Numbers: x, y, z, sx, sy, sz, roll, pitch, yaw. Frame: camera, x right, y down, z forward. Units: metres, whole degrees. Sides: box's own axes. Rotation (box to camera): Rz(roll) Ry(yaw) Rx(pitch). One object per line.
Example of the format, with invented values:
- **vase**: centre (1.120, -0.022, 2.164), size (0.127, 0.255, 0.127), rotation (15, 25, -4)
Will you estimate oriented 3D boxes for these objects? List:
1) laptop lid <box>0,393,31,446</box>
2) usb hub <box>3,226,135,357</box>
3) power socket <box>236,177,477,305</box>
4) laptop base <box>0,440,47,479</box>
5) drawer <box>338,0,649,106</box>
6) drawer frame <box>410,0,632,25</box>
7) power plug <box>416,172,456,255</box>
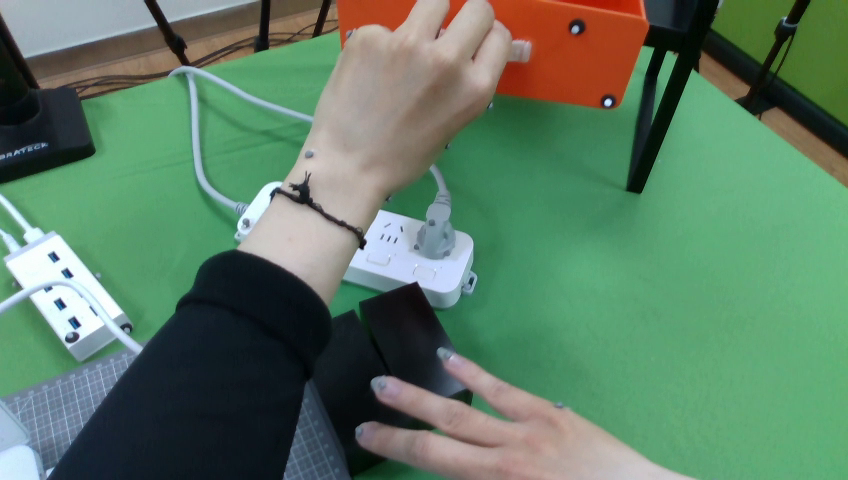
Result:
- **laptop lid**: centre (-0.441, 0.118, 0.302), size (0.357, 0.244, 0.013), rotation (-25, 43, -18)
- **usb hub**: centre (-0.302, 0.041, 0.512), size (0.124, 0.025, 0.049), rotation (38, 60, 25)
- **power socket**: centre (-0.061, -0.001, 0.549), size (0.226, 0.033, 0.072), rotation (16, 52, 11)
- **laptop base**: centre (-0.369, 0.289, 0.318), size (0.355, 0.023, 0.233), rotation (-24, 60, -19)
- **drawer**: centre (0.058, -0.203, 0.453), size (0.194, 0.074, 0.210), rotation (10, 52, 6)
- **drawer frame**: centre (0.075, -0.282, 0.514), size (0.201, 0.083, 0.211), rotation (7, 51, 4)
- **power plug**: centre (0.019, -0.017, 0.535), size (0.035, 0.053, 0.072), rotation (24, 57, 18)
